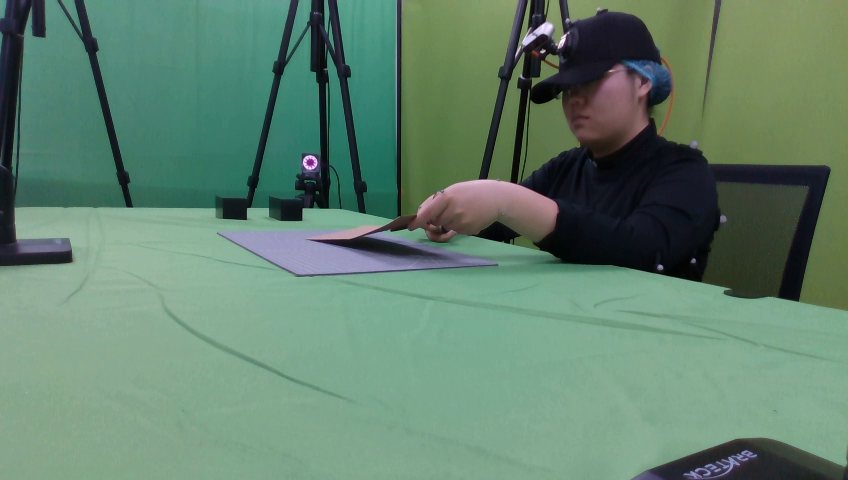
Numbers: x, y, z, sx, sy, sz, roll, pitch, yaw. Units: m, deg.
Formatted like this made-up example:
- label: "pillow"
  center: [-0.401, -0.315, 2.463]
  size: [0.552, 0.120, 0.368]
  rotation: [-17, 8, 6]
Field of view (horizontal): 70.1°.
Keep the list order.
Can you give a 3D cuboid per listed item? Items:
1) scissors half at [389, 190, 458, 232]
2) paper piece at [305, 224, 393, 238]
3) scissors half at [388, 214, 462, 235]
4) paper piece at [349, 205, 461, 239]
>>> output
- label: "scissors half"
  center: [0.000, -0.049, 1.060]
  size: [0.013, 0.040, 0.176]
  rotation: [-12, 15, 48]
- label: "paper piece"
  center: [-0.117, -0.016, 1.038]
  size: [0.136, 0.004, 0.134]
  rotation: [-14, 9, -42]
- label: "scissors half"
  center: [0.004, -0.028, 1.062]
  size: [0.176, 0.040, 0.012]
  rotation: [-1, -2, -43]
- label: "paper piece"
  center: [-0.028, -0.029, 0.940]
  size: [0.136, 0.008, 0.137]
  rotation: [-21, 4, -41]
